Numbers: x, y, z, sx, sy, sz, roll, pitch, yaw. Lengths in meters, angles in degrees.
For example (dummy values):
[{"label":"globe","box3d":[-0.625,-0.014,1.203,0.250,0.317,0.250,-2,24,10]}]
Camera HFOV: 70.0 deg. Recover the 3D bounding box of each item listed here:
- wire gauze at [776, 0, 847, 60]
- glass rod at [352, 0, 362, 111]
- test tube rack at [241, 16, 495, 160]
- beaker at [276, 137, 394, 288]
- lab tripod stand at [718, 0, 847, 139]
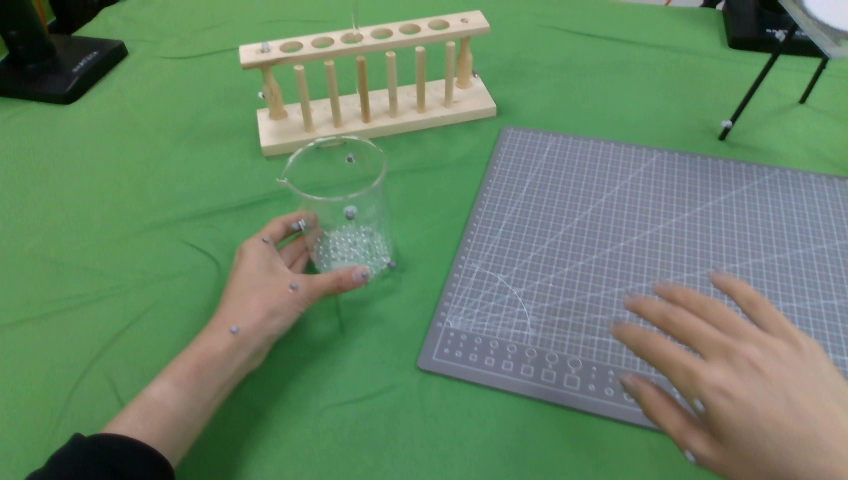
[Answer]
[{"label":"wire gauze","box3d":[0.358,-0.190,0.503,0.121,0.011,0.123,-8,47,-6]},{"label":"glass rod","box3d":[-0.064,-0.202,0.566,0.008,0.201,0.008,2,50,-1]},{"label":"test tube rack","box3d":[-0.051,-0.154,0.612,0.243,0.086,0.066,-12,47,-9]},{"label":"beaker","box3d":[-0.064,-0.017,0.473,0.084,0.101,0.073,-10,47,-6]},{"label":"lab tripod stand","box3d":[0.365,-0.144,0.552,0.148,0.132,0.147,0,47,0]}]
